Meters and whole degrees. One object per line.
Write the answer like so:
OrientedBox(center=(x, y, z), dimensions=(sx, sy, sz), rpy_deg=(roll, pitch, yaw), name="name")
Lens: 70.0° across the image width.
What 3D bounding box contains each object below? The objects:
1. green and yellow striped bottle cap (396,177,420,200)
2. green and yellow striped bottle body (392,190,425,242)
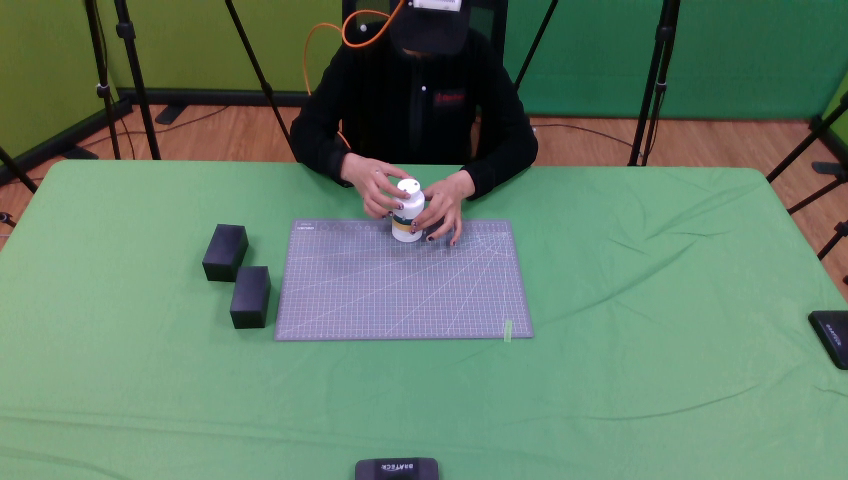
OrientedBox(center=(-0.029, -0.098, 1.139), dimensions=(0.045, 0.020, 0.045), rpy_deg=(3, 50, -3), name="green and yellow striped bottle cap")
OrientedBox(center=(-0.031, -0.058, 1.178), dimensions=(0.063, 0.120, 0.063), rpy_deg=(2, 46, -2), name="green and yellow striped bottle body")
